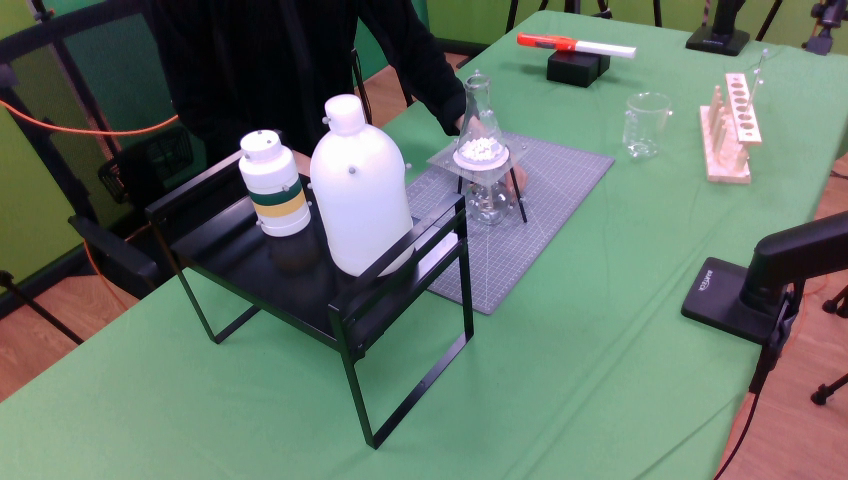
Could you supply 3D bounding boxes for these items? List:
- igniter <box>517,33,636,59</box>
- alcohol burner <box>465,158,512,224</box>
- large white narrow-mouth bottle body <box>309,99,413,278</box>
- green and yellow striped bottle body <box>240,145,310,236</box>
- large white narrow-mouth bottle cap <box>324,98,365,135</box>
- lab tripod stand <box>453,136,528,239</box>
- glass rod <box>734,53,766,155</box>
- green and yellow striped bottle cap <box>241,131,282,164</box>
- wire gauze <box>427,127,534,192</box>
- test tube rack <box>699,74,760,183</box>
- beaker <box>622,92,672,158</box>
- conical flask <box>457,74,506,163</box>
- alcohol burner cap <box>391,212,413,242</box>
[{"bbox_3d":[0.336,-0.441,1.369,0.275,0.025,0.057,16,41,23],"label":"igniter"},{"bbox_3d":[0.105,-0.085,0.987,0.078,0.119,0.077,-5,42,5],"label":"alcohol burner"},{"bbox_3d":[-0.069,-0.057,0.644,0.102,0.195,0.101,-3,42,4],"label":"large white narrow-mouth bottle body"},{"bbox_3d":[-0.181,-0.068,0.729,0.063,0.120,0.063,-4,40,4],"label":"green and yellow striped bottle body"},{"bbox_3d":[-0.076,-0.120,0.585,0.038,0.024,0.037,-3,42,3],"label":"large white narrow-mouth bottle cap"},{"bbox_3d":[0.095,-0.086,0.974,0.148,0.132,0.147,-3,43,4],"label":"lab tripod stand"},{"bbox_3d":[0.540,-0.220,1.006,0.008,0.201,0.008,-5,45,6],"label":"glass rod"},{"bbox_3d":[-0.187,-0.107,0.695,0.045,0.020,0.045,-3,39,3],"label":"green and yellow striped bottle cap"},{"bbox_3d":[0.086,-0.130,0.925,0.124,0.011,0.122,28,54,31],"label":"wire gauze"},{"bbox_3d":[0.547,-0.208,1.095,0.066,0.085,0.242,6,42,16],"label":"test tube rack"},{"bbox_3d":[0.402,-0.209,1.106,0.074,0.101,0.083,-9,40,-2],"label":"beaker"},{"bbox_3d":[0.082,-0.181,0.893,0.075,0.122,0.075,-4,41,4],"label":"conical flask"},{"bbox_3d":[-0.038,-0.023,0.989,0.034,0.048,0.033,-5,40,5],"label":"alcohol burner cap"}]
